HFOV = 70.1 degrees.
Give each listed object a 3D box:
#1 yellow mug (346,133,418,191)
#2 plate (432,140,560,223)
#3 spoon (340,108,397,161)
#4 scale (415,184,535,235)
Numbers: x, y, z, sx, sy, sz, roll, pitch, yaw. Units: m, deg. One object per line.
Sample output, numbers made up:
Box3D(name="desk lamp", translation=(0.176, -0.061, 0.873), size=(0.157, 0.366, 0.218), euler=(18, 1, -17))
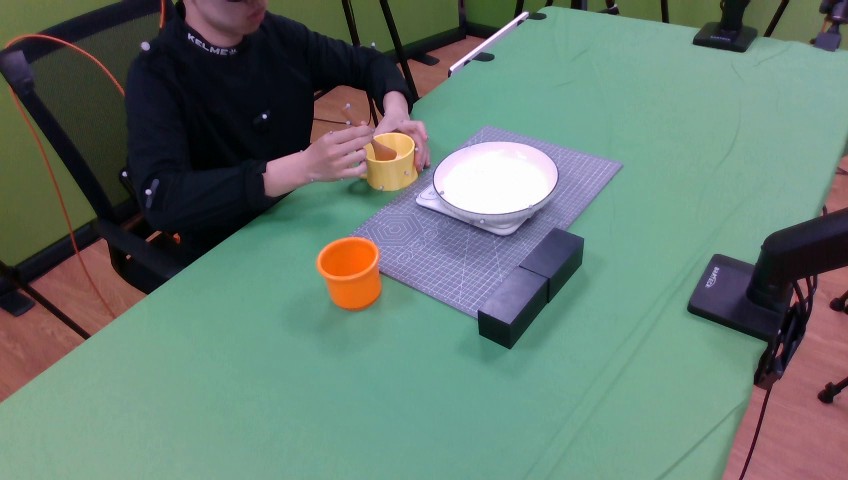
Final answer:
Box3D(name="yellow mug", translation=(-0.079, -0.143, 1.115), size=(0.131, 0.064, 0.099), euler=(-6, 40, 3))
Box3D(name="plate", translation=(0.118, -0.094, 0.999), size=(0.209, 0.038, 0.208), euler=(-4, 41, 4))
Box3D(name="spoon", translation=(-0.096, -0.177, 1.041), size=(0.041, 0.195, 0.021), euler=(-31, 60, 11))
Box3D(name="scale", translation=(0.099, -0.080, 1.035), size=(0.199, 0.032, 0.149), euler=(23, 48, 31))
